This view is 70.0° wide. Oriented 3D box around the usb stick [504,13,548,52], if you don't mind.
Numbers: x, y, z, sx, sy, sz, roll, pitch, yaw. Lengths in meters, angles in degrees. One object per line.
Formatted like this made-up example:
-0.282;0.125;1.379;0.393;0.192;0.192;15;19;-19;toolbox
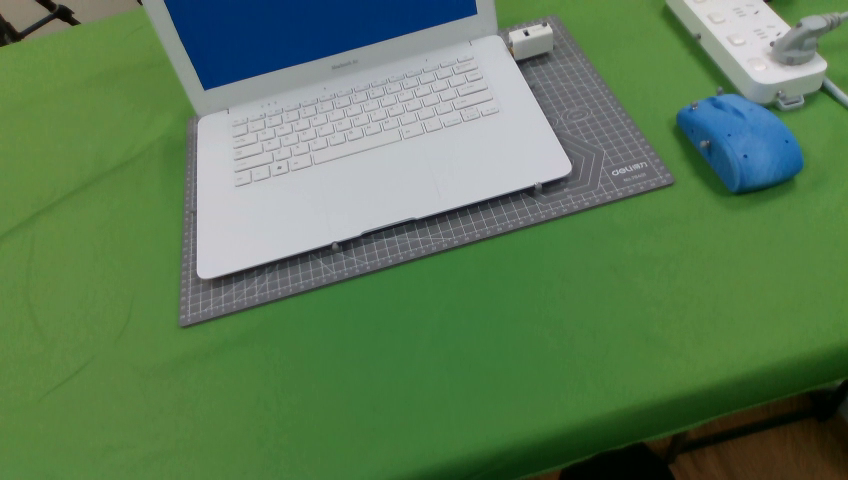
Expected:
0.104;-0.223;0.657;0.059;0.027;0.021;-17;50;3;usb stick

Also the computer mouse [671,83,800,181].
0.270;-0.102;0.531;0.063;0.041;0.116;-17;46;2;computer mouse

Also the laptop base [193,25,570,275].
-0.060;-0.101;0.614;0.354;0.023;0.233;-17;54;-1;laptop base

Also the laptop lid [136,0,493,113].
-0.114;-0.278;0.614;0.357;0.244;0.013;-18;38;0;laptop lid

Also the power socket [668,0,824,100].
0.318;-0.227;0.620;0.072;0.033;0.224;-14;51;2;power socket

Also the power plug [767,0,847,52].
0.356;-0.190;0.556;0.072;0.053;0.035;-5;54;8;power plug
